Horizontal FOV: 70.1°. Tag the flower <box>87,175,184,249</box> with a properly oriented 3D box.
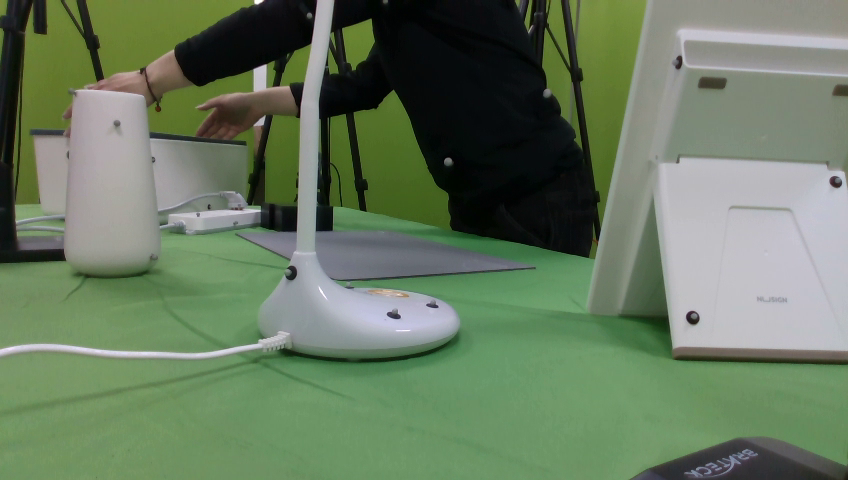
[{"bbox_3d":[-0.610,-0.063,1.291,0.044,0.038,0.361,-5,25,9],"label":"flower"}]

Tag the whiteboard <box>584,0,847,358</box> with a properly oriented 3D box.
[{"bbox_3d":[0.269,-0.034,0.466,0.217,0.305,0.143,2,27,-1],"label":"whiteboard"}]

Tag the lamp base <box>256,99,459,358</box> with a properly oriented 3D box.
[{"bbox_3d":[-0.055,-0.013,0.463,0.160,0.180,0.180,6,11,27],"label":"lamp base"}]

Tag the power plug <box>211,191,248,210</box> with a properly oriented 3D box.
[{"bbox_3d":[-0.384,-0.071,1.206,0.072,0.052,0.035,1,7,27],"label":"power plug"}]

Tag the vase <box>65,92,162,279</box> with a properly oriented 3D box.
[{"bbox_3d":[-0.348,-0.060,0.673,0.098,0.200,0.098,1,7,0],"label":"vase"}]

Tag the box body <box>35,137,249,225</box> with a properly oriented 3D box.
[{"bbox_3d":[-0.561,-0.127,1.258,0.254,0.160,0.365,4,8,13],"label":"box body"}]

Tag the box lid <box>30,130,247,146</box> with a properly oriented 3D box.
[{"bbox_3d":[-0.564,-0.207,1.252,0.263,0.015,0.372,3,7,12],"label":"box lid"}]

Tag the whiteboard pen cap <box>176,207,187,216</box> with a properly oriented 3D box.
[{"bbox_3d":[-0.511,-0.061,1.274,0.018,0.018,0.033,1,11,-12],"label":"whiteboard pen cap"}]

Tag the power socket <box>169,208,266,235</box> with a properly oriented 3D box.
[{"bbox_3d":[-0.379,-0.038,1.129,0.072,0.032,0.227,4,8,18],"label":"power socket"}]
